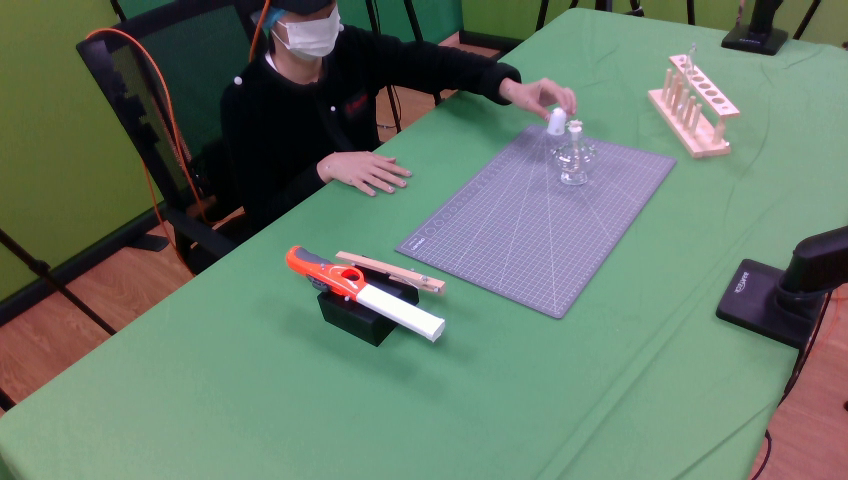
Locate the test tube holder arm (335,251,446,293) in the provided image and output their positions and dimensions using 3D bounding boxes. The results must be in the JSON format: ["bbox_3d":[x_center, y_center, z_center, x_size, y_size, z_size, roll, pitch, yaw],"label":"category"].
[{"bbox_3d":[-0.050,0.043,0.853,0.177,0.013,0.015,17,39,24],"label":"test tube holder arm"}]

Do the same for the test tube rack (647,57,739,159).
[{"bbox_3d":[0.504,-0.257,1.153,0.067,0.085,0.241,-8,40,1],"label":"test tube rack"}]

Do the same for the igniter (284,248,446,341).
[{"bbox_3d":[-0.091,0.069,0.831,0.274,0.025,0.057,22,47,27],"label":"igniter"}]

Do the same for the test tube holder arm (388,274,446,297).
[{"bbox_3d":[-0.011,0.060,0.838,0.087,0.010,0.015,18,39,24],"label":"test tube holder arm"}]

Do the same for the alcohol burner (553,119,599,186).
[{"bbox_3d":[0.261,-0.153,1.042,0.078,0.119,0.077,-6,40,6],"label":"alcohol burner"}]

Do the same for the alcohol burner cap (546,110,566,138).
[{"bbox_3d":[0.242,-0.212,1.100,0.034,0.048,0.033,1,41,0],"label":"alcohol burner cap"}]

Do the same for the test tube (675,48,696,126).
[{"bbox_3d":[0.481,-0.279,1.112,0.017,0.151,0.017,-5,40,5],"label":"test tube"}]
